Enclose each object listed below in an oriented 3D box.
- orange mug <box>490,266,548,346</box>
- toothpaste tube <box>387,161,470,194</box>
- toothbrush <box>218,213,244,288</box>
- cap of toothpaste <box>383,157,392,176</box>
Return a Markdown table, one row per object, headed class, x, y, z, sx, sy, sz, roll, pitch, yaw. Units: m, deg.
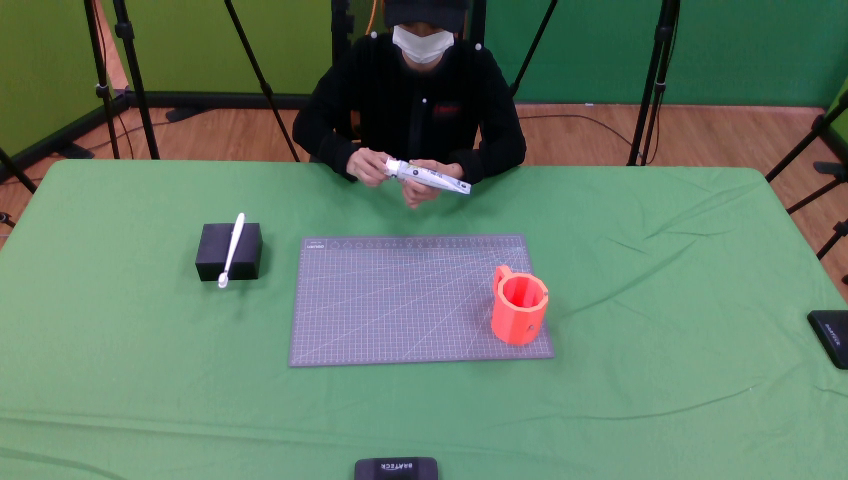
| class | x | y | z | sx | sy | sz | roll | pitch | yaw |
| --- | --- | --- | --- | --- | --- | --- | --- | --- | --- |
| orange mug | 0.155 | 0.107 | 1.051 | 0.083 | 0.101 | 0.125 | -15 | 53 | -18 |
| toothpaste tube | 0.007 | -0.118 | 1.152 | 0.165 | 0.034 | 0.055 | 14 | 30 | 0 |
| toothbrush | -0.347 | 0.013 | 1.093 | 0.014 | 0.017 | 0.180 | -1 | 46 | 0 |
| cap of toothpaste | -0.069 | -0.140 | 1.154 | 0.011 | 0.037 | 0.037 | 13 | 46 | -1 |
